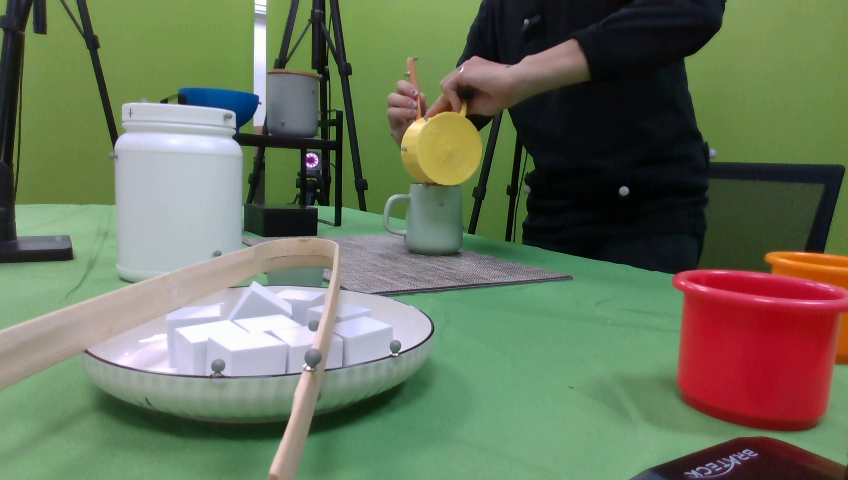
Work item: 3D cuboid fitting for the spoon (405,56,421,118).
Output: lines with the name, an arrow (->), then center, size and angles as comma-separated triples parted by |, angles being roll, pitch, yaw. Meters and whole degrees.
spoon -> -0.012, -0.194, 0.893 | 0.041, 0.193, 0.022 | -20, -30, 23

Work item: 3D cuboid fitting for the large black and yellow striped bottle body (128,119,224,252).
large black and yellow striped bottle body -> -0.361, -0.081, 0.887 | 0.131, 0.184, 0.130 | 2, 8, 0

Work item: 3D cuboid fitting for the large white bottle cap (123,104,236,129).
large white bottle cap -> -0.266, -0.135, 0.663 | 0.115, 0.018, 0.115 | 3, 7, 0

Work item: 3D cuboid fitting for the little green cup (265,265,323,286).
little green cup -> -0.134, 0.034, 0.628 | 0.061, 0.038, 0.061 | 3, 7, 0

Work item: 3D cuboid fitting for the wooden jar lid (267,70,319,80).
wooden jar lid -> -0.275, -0.340, 1.271 | 0.108, 0.020, 0.108 | 5, 6, 0

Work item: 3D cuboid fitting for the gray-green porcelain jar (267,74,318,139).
gray-green porcelain jar -> -0.277, -0.279, 1.280 | 0.106, 0.126, 0.106 | 2, 7, 0

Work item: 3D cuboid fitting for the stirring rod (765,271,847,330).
stirring rod -> 0.352, 0.020, 0.481 | 0.176, 0.006, 0.014 | -40, -7, 17

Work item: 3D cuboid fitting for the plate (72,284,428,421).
plate -> -0.102, 0.066, 0.380 | 0.208, 0.039, 0.207 | 3, 7, 0

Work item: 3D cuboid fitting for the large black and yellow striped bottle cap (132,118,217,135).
large black and yellow striped bottle cap -> -0.359, -0.164, 0.875 | 0.115, 0.019, 0.115 | 2, 6, 0

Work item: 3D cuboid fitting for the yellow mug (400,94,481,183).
yellow mug -> 0.028, -0.146, 0.859 | 0.100, 0.130, 0.064 | 22, -1, -24

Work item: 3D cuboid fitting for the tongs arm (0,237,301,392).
tongs arm -> -0.158, 0.038, 0.346 | 0.028, 0.028, 0.388 | -3, 8, 11

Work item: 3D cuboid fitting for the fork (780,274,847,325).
fork -> 0.332, 0.018, 0.443 | 0.028, 0.018, 0.207 | -3, -35, -16

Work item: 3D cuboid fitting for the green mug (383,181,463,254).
green mug -> -0.001, -0.036, 0.921 | 0.126, 0.105, 0.092 | 0, 8, -16

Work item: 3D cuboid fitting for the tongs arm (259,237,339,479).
tongs arm -> -0.074, 0.040, 0.345 | 0.051, 0.026, 0.384 | -1, 9, -3

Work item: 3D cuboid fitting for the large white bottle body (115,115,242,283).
large white bottle body -> -0.270, -0.051, 0.673 | 0.131, 0.184, 0.130 | 2, 8, 0

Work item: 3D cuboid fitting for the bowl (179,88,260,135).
bowl -> -0.400, -0.248, 1.188 | 0.151, 0.077, 0.151 | 2, 7, 0
